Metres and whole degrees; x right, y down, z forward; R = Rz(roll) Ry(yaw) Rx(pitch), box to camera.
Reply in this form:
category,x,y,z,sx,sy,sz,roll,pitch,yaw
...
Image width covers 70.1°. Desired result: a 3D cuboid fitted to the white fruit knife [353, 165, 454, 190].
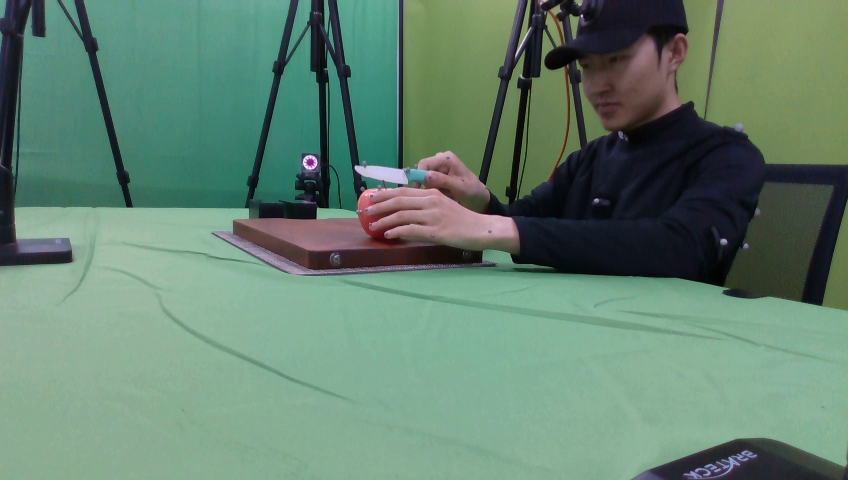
category,x,y,z,sx,sy,sz,roll,pitch,yaw
white fruit knife,-0.026,-0.098,0.924,0.016,0.027,0.208,-8,-7,43

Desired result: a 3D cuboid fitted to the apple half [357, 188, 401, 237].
category,x,y,z,sx,sy,sz,roll,pitch,yaw
apple half,-0.073,-0.042,0.904,0.082,0.081,0.032,-3,10,-38

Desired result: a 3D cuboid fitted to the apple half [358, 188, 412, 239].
category,x,y,z,sx,sy,sz,roll,pitch,yaw
apple half,-0.050,-0.037,0.872,0.081,0.074,0.053,0,10,-39
